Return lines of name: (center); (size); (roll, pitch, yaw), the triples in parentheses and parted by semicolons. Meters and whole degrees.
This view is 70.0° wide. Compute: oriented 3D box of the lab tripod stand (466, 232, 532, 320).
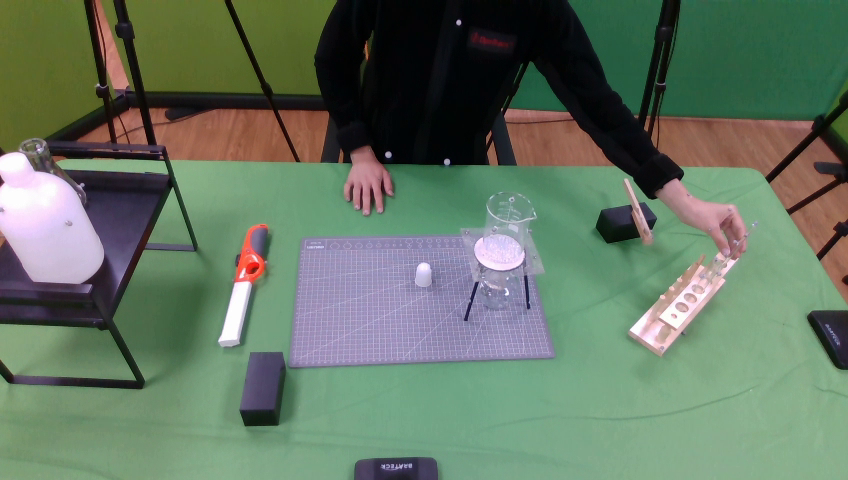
lab tripod stand: (0.125, 0.059, 1.065); (0.148, 0.132, 0.147); (1, 45, 0)

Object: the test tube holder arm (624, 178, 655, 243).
test tube holder arm: (0.432, -0.062, 1.220); (0.013, 0.015, 0.177); (0, 47, -3)

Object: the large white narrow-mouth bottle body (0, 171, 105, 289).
large white narrow-mouth bottle body: (-0.513, -0.029, 0.818); (0.102, 0.195, 0.101); (2, 46, -2)

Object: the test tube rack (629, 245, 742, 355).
test tube rack: (0.474, 0.095, 1.091); (0.242, 0.085, 0.066); (-34, 56, -31)

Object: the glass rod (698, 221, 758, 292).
glass rod: (0.527, 0.035, 1.060); (0.008, 0.200, 0.008); (5, 49, -6)

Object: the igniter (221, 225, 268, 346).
igniter: (-0.323, 0.072, 1.100); (0.057, 0.025, 0.274); (-6, 45, 5)

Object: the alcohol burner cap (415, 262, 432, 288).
alcohol burner cap: (0.000, 0.061, 1.119); (0.034, 0.048, 0.033); (3, 43, -3)

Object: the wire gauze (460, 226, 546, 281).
wire gauze: (0.130, 0.017, 1.016); (0.121, 0.011, 0.124); (-4, 43, -9)

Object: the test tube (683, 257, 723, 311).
test tube: (0.475, 0.080, 1.037); (0.017, 0.151, 0.017); (1, 50, -1)

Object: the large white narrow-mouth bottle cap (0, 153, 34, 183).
large white narrow-mouth bottle cap: (-0.510, -0.090, 0.754); (0.038, 0.024, 0.037); (2, 46, -2)

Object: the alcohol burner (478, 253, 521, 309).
alcohol burner: (0.134, 0.067, 1.073); (0.078, 0.120, 0.077); (0, 47, 0)

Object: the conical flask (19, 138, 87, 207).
conical flask: (-0.576, -0.097, 0.930); (0.075, 0.122, 0.075); (2, 46, -2)

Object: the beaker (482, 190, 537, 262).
beaker: (0.136, -0.019, 0.983); (0.084, 0.101, 0.073); (17, 47, 14)

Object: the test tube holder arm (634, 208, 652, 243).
test tube holder arm: (0.428, -0.029, 1.189); (0.010, 0.015, 0.087); (1, 47, -2)
